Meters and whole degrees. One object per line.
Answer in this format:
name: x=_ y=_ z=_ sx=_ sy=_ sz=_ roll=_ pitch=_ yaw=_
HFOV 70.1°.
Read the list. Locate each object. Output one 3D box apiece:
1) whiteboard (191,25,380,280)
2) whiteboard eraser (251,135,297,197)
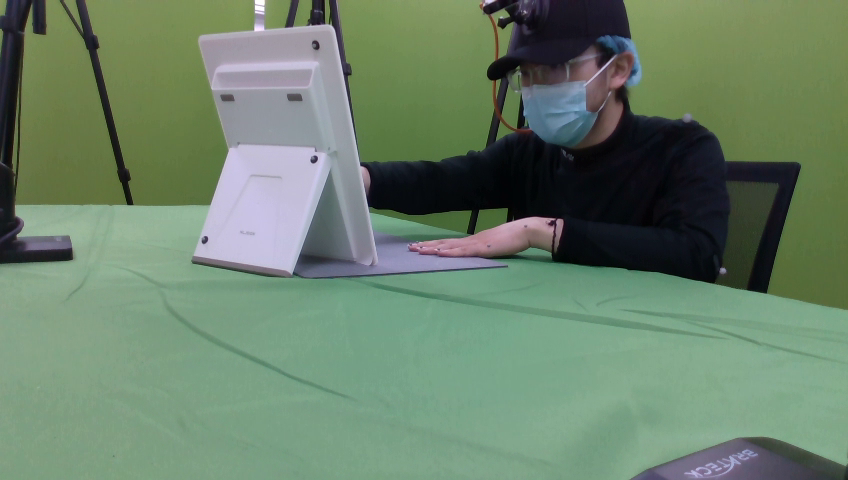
whiteboard: x=-0.206 y=-0.085 z=0.732 sx=0.216 sy=0.305 sz=0.144 roll=7 pitch=30 yaw=30
whiteboard eraser: x=-0.216 y=-0.102 z=0.865 sx=0.042 sy=0.055 sz=0.112 roll=-37 pitch=-9 yaw=-14
